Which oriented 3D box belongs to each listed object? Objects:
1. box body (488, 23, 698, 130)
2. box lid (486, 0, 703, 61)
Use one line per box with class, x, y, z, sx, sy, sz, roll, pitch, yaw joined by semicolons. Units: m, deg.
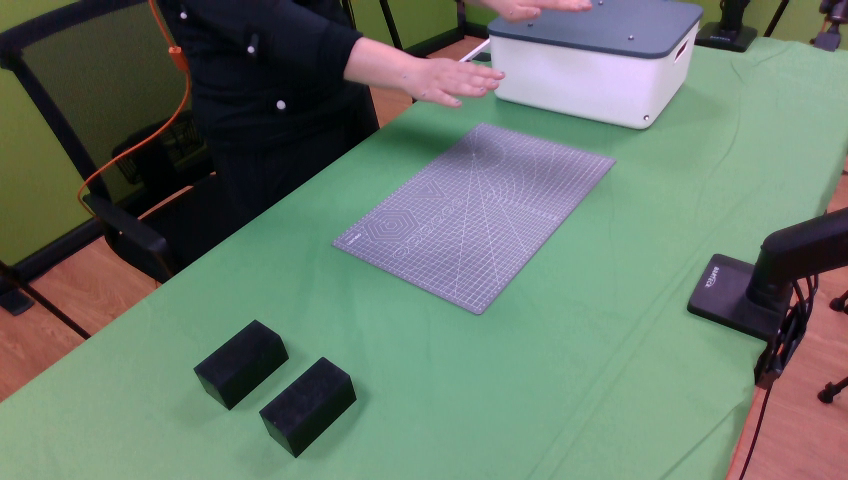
box body;0.345;-0.379;1.257;0.361;0.161;0.255;20;48;29
box lid;0.338;-0.435;1.208;0.369;0.015;0.264;20;47;29
